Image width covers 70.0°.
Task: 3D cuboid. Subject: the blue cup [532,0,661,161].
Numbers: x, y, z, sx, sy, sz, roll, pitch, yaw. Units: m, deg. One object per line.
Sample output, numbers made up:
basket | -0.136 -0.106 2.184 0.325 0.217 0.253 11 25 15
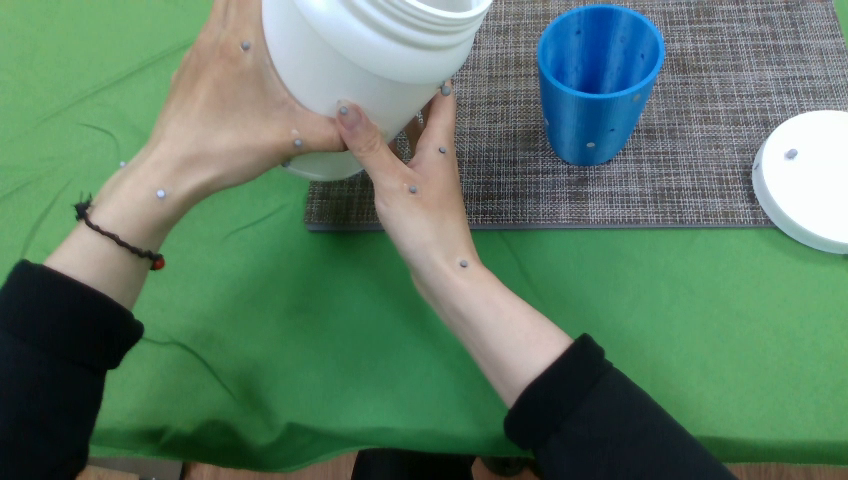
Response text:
blue cup | 0.123 -0.111 0.454 0.092 0.101 0.092 -3 62 7

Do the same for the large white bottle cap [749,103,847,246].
large white bottle cap | 0.305 -0.051 0.451 0.115 0.018 0.114 -1 67 4

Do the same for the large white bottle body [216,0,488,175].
large white bottle body | -0.050 -0.138 0.404 0.131 0.184 0.129 15 61 -29
